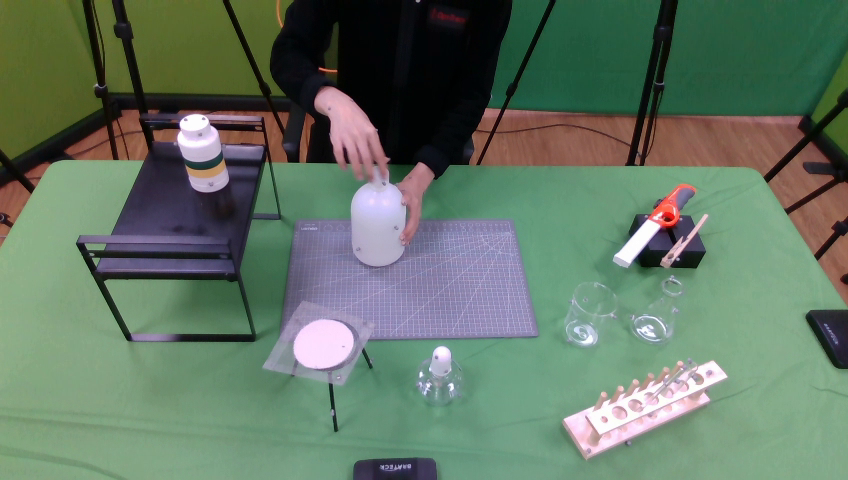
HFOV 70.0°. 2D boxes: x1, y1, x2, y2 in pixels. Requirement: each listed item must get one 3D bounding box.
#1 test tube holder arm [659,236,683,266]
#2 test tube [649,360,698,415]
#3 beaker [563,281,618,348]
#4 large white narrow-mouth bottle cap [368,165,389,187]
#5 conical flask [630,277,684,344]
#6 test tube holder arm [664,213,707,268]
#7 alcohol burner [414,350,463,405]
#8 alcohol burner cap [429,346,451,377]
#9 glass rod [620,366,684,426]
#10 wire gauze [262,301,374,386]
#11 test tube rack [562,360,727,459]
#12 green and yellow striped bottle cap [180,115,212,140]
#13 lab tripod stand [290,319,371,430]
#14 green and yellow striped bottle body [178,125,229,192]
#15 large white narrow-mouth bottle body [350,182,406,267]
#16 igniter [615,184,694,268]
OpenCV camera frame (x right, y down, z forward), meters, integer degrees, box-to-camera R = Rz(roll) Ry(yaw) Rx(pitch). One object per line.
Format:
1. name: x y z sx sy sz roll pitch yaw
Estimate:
1. test tube holder arm: 0.472 0.020 1.149 0.010 0.015 0.088 35 54 27
2. test tube: 0.365 0.222 0.898 0.017 0.151 0.017 4 49 -5
3. beaker: 0.283 0.129 1.041 0.074 0.101 0.083 11 46 6
4. large white narrow-mouth bottle cap: -0.079 -0.111 1.051 0.038 0.024 0.037 3 44 -2
5. conical flask: 0.408 0.117 1.045 0.075 0.122 0.075 2 46 -2
6. test tube holder arm: 0.507 -0.001 1.171 0.013 0.015 0.178 34 54 26
7. alcohol burner: 0.023 0.205 0.939 0.078 0.120 0.077 1 47 -1
8. alcohol burner cap: 0.026 0.180 0.912 0.034 0.048 0.033 1 47 -1
9. glass rod: 0.322 0.227 0.866 0.008 0.200 0.008 5 51 -7
10. wire gauze: -0.150 0.148 0.873 0.121 0.011 0.124 14 46 12
11. test tube rack: 0.341 0.247 0.940 0.243 0.085 0.066 -16 49 -18
12. green and yellow striped bottle cap: -0.358 -0.177 0.951 0.045 0.020 0.045 2 45 -2
13. lab tripod stand: -0.146 0.193 0.923 0.148 0.132 0.147 1 47 -1
14. green and yellow striped bottle body: -0.361 -0.142 0.989 0.063 0.120 0.063 2 46 -2
15. large white narrow-mouth bottle body: -0.084 -0.046 1.114 0.102 0.195 0.101 2 44 -2
16. igniter: 0.459 -0.035 1.197 0.057 0.025 0.276 32 55 27
